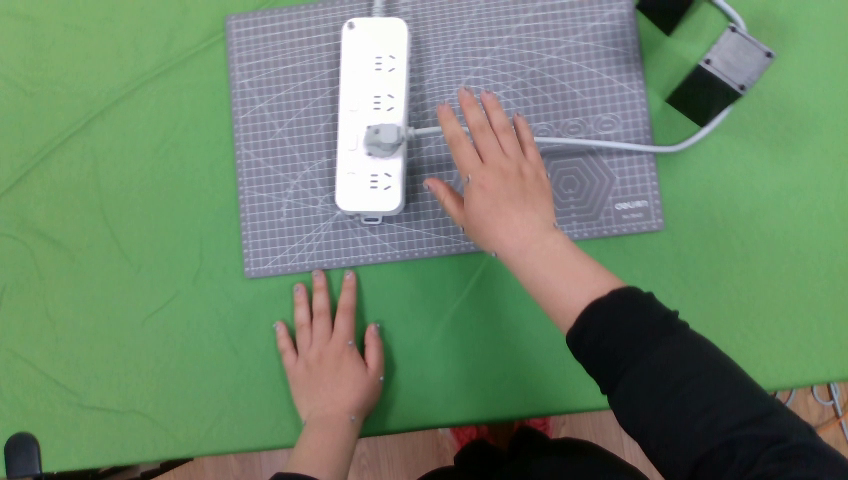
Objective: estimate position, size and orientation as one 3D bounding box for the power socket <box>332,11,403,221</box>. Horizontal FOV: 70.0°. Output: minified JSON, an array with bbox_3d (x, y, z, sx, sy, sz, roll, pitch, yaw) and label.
[{"bbox_3d":[-0.060,-0.134,0.648,0.072,0.032,0.226,0,85,4],"label":"power socket"}]

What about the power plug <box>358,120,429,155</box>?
[{"bbox_3d":[-0.032,-0.103,0.625,0.072,0.053,0.035,12,86,4],"label":"power plug"}]
